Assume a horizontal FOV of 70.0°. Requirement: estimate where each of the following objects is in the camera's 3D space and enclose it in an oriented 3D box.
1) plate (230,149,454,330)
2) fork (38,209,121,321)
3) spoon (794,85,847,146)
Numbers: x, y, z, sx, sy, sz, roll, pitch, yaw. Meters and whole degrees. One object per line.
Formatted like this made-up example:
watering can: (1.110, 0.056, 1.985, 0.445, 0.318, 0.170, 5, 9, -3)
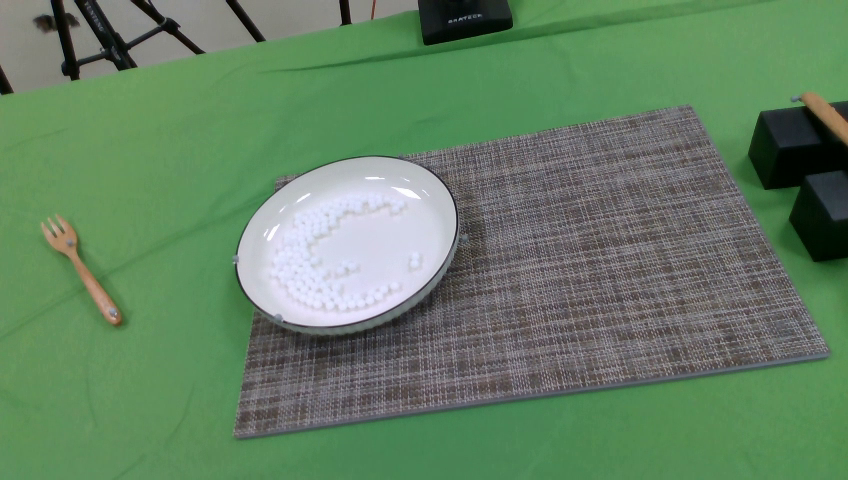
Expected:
plate: (-0.073, -0.002, 0.563, 0.207, 0.039, 0.205, -6, 49, 8)
fork: (-0.356, 0.023, 0.623, 0.028, 0.019, 0.205, -35, 49, -25)
spoon: (0.340, -0.070, 0.474, 0.041, 0.022, 0.191, -25, 45, 22)
